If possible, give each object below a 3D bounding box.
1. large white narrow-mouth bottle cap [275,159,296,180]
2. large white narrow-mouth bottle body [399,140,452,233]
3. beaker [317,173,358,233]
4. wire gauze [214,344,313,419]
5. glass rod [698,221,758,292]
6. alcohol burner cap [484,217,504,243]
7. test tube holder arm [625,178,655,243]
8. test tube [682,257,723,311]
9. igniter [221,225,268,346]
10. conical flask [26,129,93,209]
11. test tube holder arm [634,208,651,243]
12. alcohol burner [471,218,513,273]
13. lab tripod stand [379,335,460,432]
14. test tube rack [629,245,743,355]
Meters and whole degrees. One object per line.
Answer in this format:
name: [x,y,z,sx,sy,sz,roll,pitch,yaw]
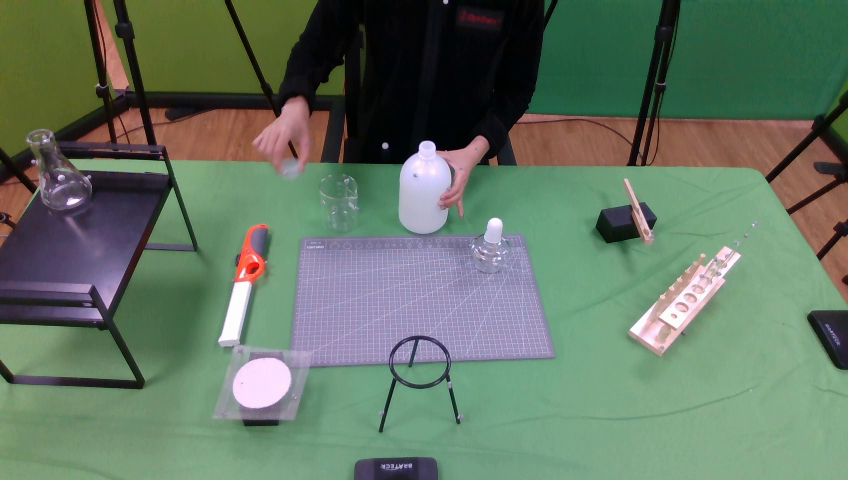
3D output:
large white narrow-mouth bottle cap: [-0.254,-0.129,1.108,0.038,0.024,0.037,2,47,-2]
large white narrow-mouth bottle body: [0.003,-0.110,1.183,0.102,0.195,0.101,2,47,-2]
beaker: [-0.166,-0.070,1.198,0.083,0.101,0.074,25,50,18]
wire gauze: [-0.241,0.213,0.916,0.121,0.011,0.124,5,46,1]
glass rod: [0.527,0.035,1.059,0.008,0.200,0.008,5,49,-6]
alcohol burner cap: [0.130,-0.021,1.107,0.034,0.048,0.033,4,40,-3]
test tube holder arm: [0.433,-0.062,1.220,0.013,0.015,0.177,0,47,-3]
test tube: [0.475,0.080,1.037,0.017,0.151,0.017,1,50,-1]
igniter: [-0.323,0.072,1.100,0.057,0.025,0.274,-6,45,5]
conical flask: [-0.575,-0.113,0.946,0.075,0.122,0.075,2,46,-2]
test tube holder arm: [0.428,-0.030,1.189,0.010,0.015,0.087,1,47,-2]
alcohol burner: [0.128,0.005,1.132,0.078,0.120,0.077,0,47,0]
lab tripod stand: [-0.011,0.214,0.911,0.148,0.132,0.147,1,45,0]
test tube rack: [0.474,0.095,1.091,0.242,0.085,0.066,-34,56,-31]
